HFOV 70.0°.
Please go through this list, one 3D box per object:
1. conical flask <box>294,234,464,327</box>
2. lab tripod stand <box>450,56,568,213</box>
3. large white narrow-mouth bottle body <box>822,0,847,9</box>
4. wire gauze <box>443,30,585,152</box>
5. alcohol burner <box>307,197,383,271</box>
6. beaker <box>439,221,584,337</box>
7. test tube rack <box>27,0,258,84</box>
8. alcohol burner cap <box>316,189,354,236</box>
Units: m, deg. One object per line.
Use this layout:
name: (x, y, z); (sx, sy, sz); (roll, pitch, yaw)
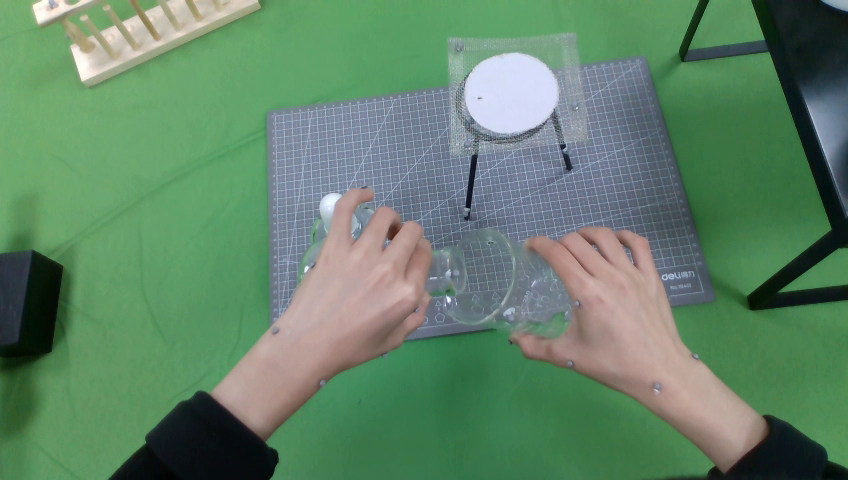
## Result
conical flask: (-0.032, 0.026, 0.468); (0.121, 0.076, 0.075); (-7, 67, 23)
lab tripod stand: (0.079, -0.110, 0.611); (0.148, 0.132, 0.147); (-2, 67, 4)
large white narrow-mouth bottle body: (0.351, -0.264, 0.421); (0.102, 0.196, 0.101); (-2, 67, 4)
wire gauze: (0.080, -0.139, 0.550); (0.121, 0.011, 0.124); (-2, 69, 3)
alcohol burner: (-0.082, -0.013, 0.601); (0.078, 0.120, 0.077); (-1, 67, 3)
beaker: (0.071, 0.038, 0.482); (0.084, 0.101, 0.073); (-45, 46, 28)
test tube rack: (-0.342, -0.292, 0.751); (0.242, 0.086, 0.066); (-27, 69, -5)
alcohol burner cap: (-0.086, -0.029, 0.568); (0.034, 0.048, 0.033); (-1, 62, 3)
